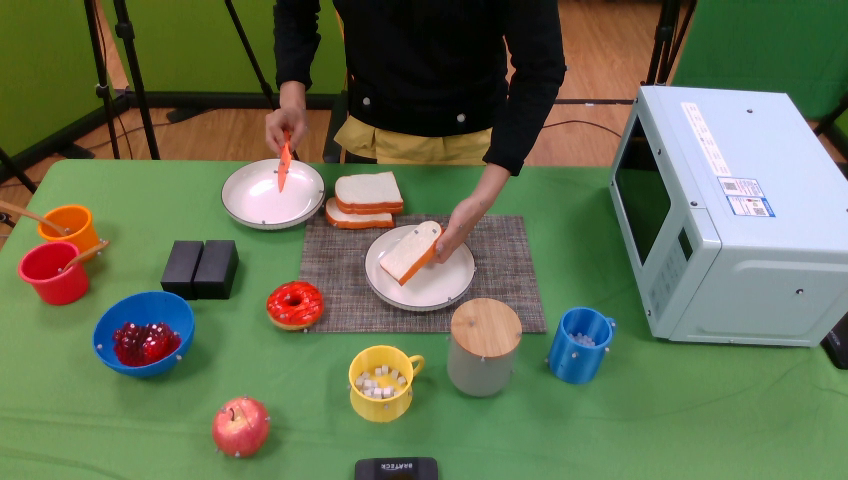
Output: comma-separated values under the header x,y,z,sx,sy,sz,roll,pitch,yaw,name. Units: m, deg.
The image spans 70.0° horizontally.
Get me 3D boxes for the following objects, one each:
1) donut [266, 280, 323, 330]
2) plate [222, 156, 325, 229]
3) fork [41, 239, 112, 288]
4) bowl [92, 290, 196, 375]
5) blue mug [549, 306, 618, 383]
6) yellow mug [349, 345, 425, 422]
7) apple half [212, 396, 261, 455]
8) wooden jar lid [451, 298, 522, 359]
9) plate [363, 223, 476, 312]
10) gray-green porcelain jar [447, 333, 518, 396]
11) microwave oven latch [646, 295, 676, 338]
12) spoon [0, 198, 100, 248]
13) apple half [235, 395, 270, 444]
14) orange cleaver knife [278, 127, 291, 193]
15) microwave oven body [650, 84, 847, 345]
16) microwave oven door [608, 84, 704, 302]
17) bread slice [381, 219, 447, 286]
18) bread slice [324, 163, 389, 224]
x,y,z,sx,sy,sz,roll,pitch,yaw,name
-0.223,0.112,1.051,0.099,0.048,0.098,2,46,-2,donut
-0.308,-0.095,1.251,0.209,0.038,0.208,3,46,-3,plate
-0.591,0.040,1.028,0.207,0.019,0.028,-27,37,29,fork
-0.436,0.161,0.971,0.151,0.077,0.150,2,46,-2,bowl
0.269,0.167,0.997,0.116,0.106,0.082,-19,50,-21,blue mug
-0.054,0.217,0.954,0.131,0.064,0.099,-23,52,-25,yellow mug
-0.276,0.276,0.877,0.053,0.075,0.080,-29,58,-21,apple half
0.093,0.135,0.914,0.108,0.021,0.107,3,49,-3,wooden jar lid
-0.009,0.054,1.126,0.208,0.039,0.206,2,46,-2,plate
0.091,0.178,0.960,0.106,0.127,0.105,2,46,-2,gray-green porcelain jar
0.413,0.133,1.060,0.030,0.029,0.078,4,46,1,microwave oven latch
-0.684,-0.035,1.092,0.021,0.195,0.041,-34,41,26,spoon
-0.245,0.260,0.893,0.033,0.082,0.081,-29,55,-22,apple half
-0.262,-0.153,1.127,0.012,0.077,0.210,14,24,-20,orange cleaver knife
0.569,-0.054,1.116,0.326,0.261,0.439,2,46,-1,microwave oven body
0.424,-0.096,1.138,0.039,0.245,0.353,2,47,-1,microwave oven door
-0.018,0.015,1.101,0.131,0.019,0.104,-48,30,-5,bread slice
-0.140,-0.091,1.215,0.134,0.018,0.106,-24,50,11,bread slice
